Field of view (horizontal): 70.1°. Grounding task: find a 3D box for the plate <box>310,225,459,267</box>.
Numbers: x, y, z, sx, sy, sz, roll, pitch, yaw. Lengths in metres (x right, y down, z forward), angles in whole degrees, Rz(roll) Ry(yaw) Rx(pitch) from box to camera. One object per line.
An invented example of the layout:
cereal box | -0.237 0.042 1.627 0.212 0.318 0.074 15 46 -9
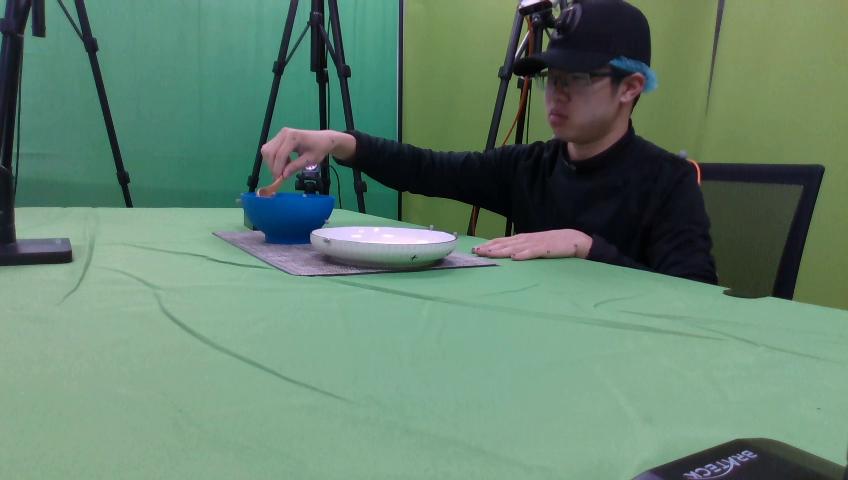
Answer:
plate | -0.055 0.008 0.851 0.208 0.039 0.207 2 7 0

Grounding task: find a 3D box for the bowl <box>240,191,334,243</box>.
bowl | -0.223 -0.037 0.992 0.151 0.077 0.151 2 7 0

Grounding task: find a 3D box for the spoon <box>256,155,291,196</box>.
spoon | -0.252 -0.102 1.038 0.021 0.042 0.193 -14 29 15
